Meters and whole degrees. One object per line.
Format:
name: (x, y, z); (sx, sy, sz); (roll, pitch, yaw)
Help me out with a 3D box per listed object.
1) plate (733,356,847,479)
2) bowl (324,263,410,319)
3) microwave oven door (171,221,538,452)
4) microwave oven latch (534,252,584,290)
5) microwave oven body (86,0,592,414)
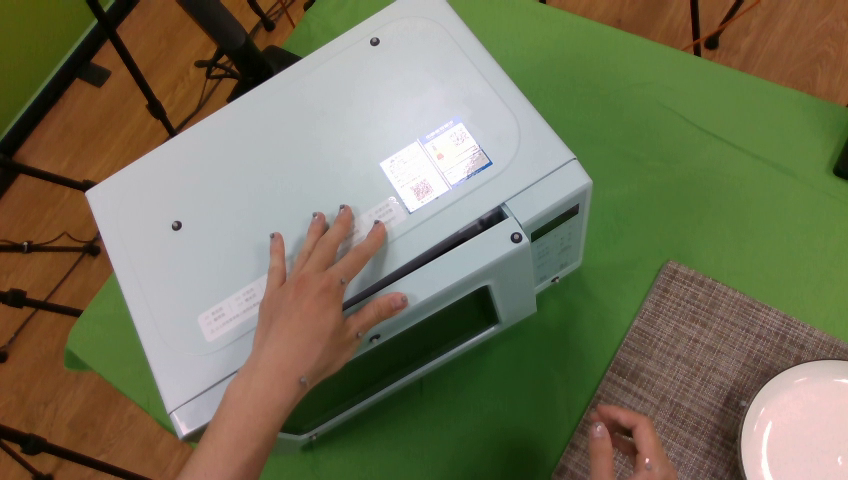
plate: (0.430, 0.227, 0.630); (0.207, 0.039, 0.206); (-4, 69, 10)
bowl: (-0.082, 0.033, 0.728); (0.151, 0.077, 0.150); (-5, 64, 10)
microwave oven door: (-0.045, 0.118, 0.642); (0.356, 0.246, 0.039); (-30, 66, -1)
microwave oven latch: (0.157, 0.031, 0.745); (0.079, 0.030, 0.030); (-31, 67, -1)
microwave oven body: (-0.085, -0.021, 0.709); (0.442, 0.262, 0.323); (-33, 67, -1)
